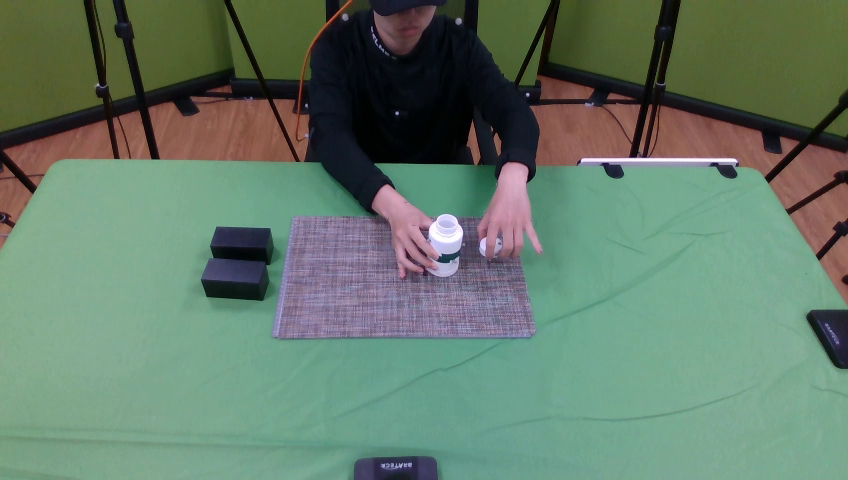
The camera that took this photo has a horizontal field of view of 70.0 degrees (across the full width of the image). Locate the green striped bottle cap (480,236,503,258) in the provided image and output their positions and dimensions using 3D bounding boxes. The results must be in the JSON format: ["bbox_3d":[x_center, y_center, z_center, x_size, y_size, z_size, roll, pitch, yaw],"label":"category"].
[{"bbox_3d":[0.128,0.014,1.161,0.044,0.020,0.044,-4,46,4],"label":"green striped bottle cap"}]

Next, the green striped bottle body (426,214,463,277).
[{"bbox_3d":[0.037,0.008,1.121,0.063,0.120,0.063,2,46,-2],"label":"green striped bottle body"}]
